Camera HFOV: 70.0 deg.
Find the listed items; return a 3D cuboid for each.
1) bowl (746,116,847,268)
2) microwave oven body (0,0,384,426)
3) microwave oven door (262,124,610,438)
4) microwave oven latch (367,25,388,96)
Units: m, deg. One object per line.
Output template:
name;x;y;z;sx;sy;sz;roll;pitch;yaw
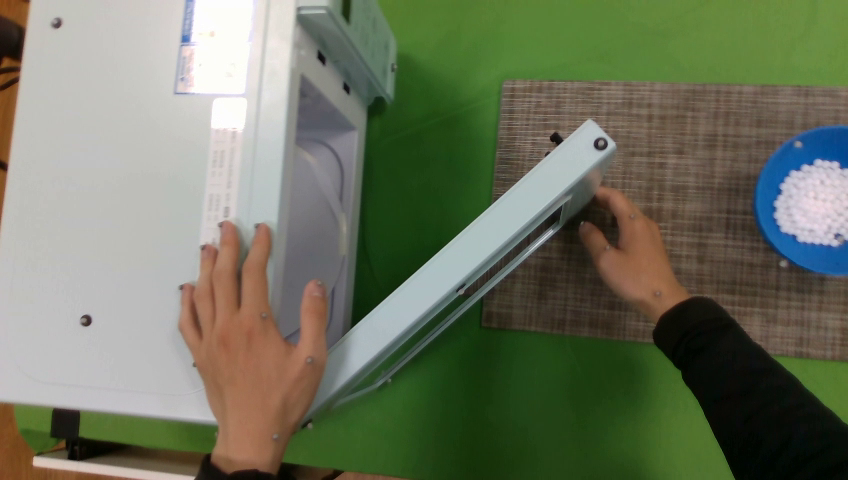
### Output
bowl;0.405;-0.043;0.629;0.151;0.077;0.151;-1;85;10
microwave oven body;-0.232;-0.056;0.651;0.325;0.261;0.440;2;86;10
microwave oven door;0.026;0.046;0.592;0.356;0.245;0.039;-42;78;4
microwave oven latch;-0.059;-0.217;0.734;0.030;0.029;0.079;3;86;10
